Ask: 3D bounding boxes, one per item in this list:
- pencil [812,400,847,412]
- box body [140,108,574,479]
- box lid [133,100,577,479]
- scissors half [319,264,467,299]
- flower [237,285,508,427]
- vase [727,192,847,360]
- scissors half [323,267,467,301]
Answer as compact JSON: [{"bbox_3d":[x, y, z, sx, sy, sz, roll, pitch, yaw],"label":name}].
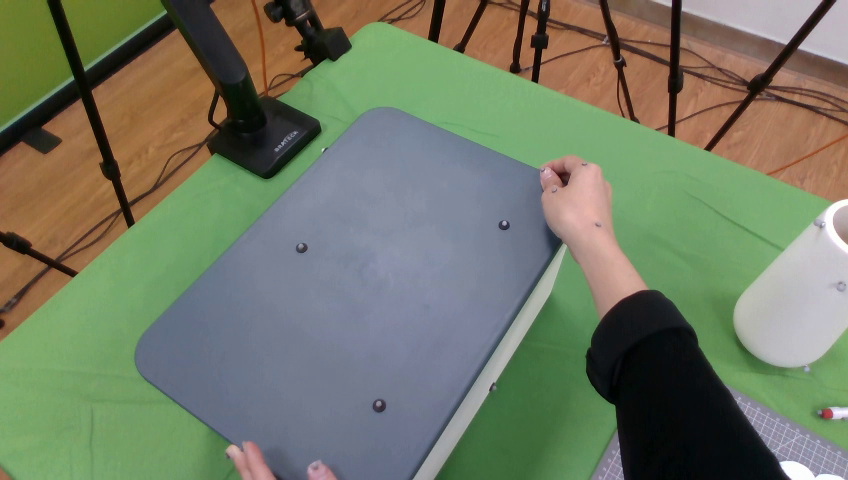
[{"bbox_3d":[0.497,0.162,0.623,0.194,0.012,0.012,-5,55,-2],"label":"pencil"},{"bbox_3d":[-0.045,0.070,0.617,0.252,0.162,0.363,28,61,20],"label":"box body"},{"bbox_3d":[-0.047,0.024,0.552,0.261,0.015,0.370,28,62,19],"label":"box lid"},{"bbox_3d":[-0.037,0.043,0.709,0.175,0.040,0.012,5,24,4],"label":"scissors half"},{"bbox_3d":[-0.036,0.114,0.688,0.362,0.044,0.038,-21,22,-32],"label":"flower"},{"bbox_3d":[0.378,0.039,0.597,0.098,0.202,0.097,-1,54,2],"label":"vase"},{"bbox_3d":[-0.036,0.056,0.714,0.175,0.040,0.013,-4,17,8],"label":"scissors half"}]
